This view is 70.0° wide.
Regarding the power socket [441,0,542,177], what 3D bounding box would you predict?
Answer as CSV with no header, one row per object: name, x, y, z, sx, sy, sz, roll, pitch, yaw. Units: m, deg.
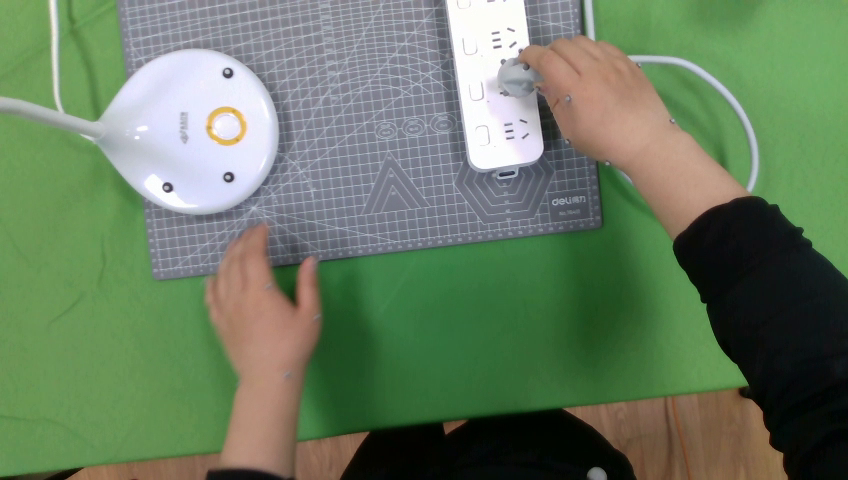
power socket,0.061,-0.174,0.571,0.072,0.032,0.226,-9,92,2

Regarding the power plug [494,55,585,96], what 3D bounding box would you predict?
power plug,0.098,-0.142,0.537,0.073,0.052,0.035,11,89,-9

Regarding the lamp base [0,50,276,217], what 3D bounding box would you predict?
lamp base,-0.239,-0.097,0.513,0.179,0.180,0.160,-13,92,6
